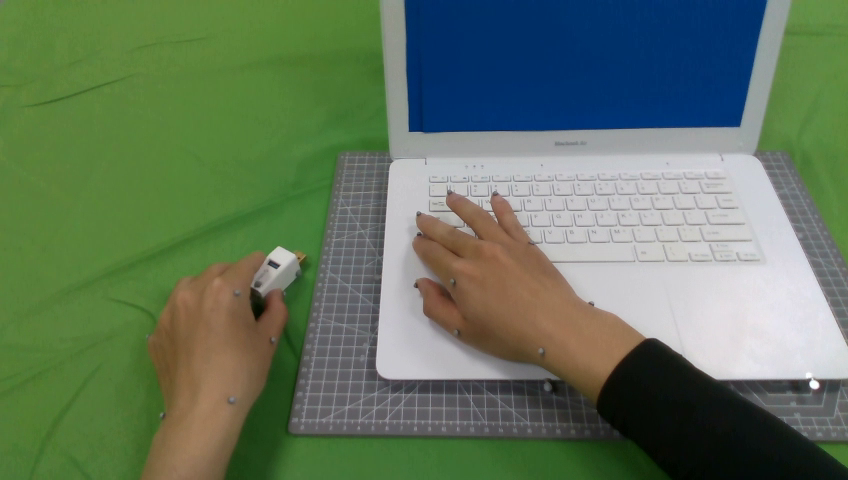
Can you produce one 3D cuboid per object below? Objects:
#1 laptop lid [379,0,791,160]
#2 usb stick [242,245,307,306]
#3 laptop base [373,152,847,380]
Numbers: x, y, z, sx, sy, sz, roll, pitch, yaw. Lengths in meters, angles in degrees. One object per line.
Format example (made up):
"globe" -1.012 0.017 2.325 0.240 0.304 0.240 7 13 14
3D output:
"laptop lid" 0.138 -0.180 0.533 0.357 0.243 0.013 -2 29 1
"usb stick" -0.122 0.025 0.508 0.021 0.027 0.059 22 52 25
"laptop base" 0.139 0.013 0.516 0.354 0.023 0.233 -1 53 1
